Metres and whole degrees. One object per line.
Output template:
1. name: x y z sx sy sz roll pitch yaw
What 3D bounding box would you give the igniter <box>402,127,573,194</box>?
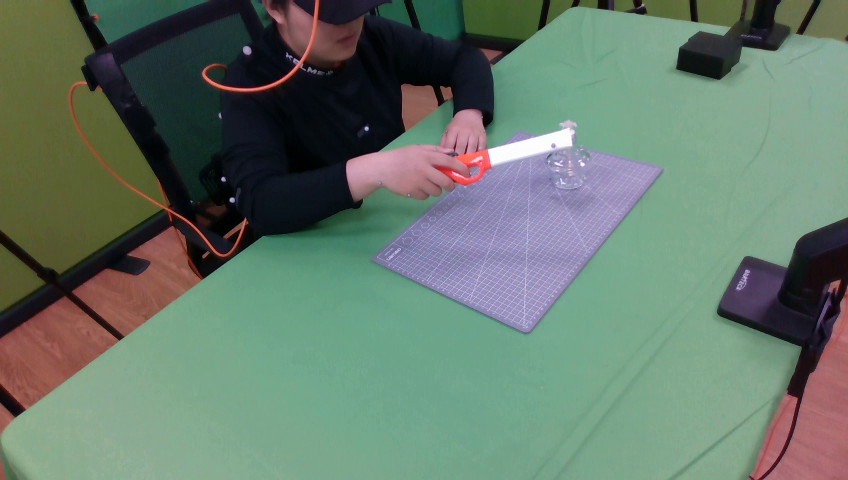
1. igniter: 0.094 -0.124 0.949 0.276 0.025 0.057 -14 80 12

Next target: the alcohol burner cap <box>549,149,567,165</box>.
1. alcohol burner cap: 0.247 -0.166 1.114 0.034 0.048 0.033 -6 40 6

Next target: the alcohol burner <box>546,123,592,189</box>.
1. alcohol burner: 0.248 -0.147 1.035 0.078 0.120 0.077 -7 41 6
